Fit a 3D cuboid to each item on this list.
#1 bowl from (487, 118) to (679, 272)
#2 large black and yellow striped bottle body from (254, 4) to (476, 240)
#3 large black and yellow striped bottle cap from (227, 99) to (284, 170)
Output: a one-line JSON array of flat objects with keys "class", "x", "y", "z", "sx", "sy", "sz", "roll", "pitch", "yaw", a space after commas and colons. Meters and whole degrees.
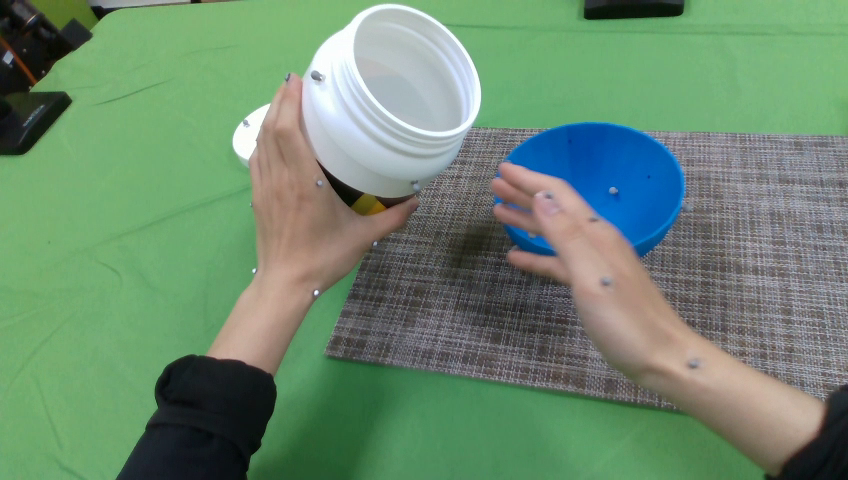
[{"class": "bowl", "x": 0.133, "y": -0.026, "z": 0.518, "sx": 0.151, "sy": 0.077, "sz": 0.150, "roll": -6, "pitch": 50, "yaw": 8}, {"class": "large black and yellow striped bottle body", "x": -0.052, "y": -0.090, "z": 0.499, "sx": 0.132, "sy": 0.184, "sz": 0.130, "roll": 13, "pitch": 63, "yaw": -28}, {"class": "large black and yellow striped bottle cap", "x": -0.179, "y": -0.128, "z": 0.725, "sx": 0.115, "sy": 0.019, "sz": 0.114, "roll": -6, "pitch": 50, "yaw": 7}]
